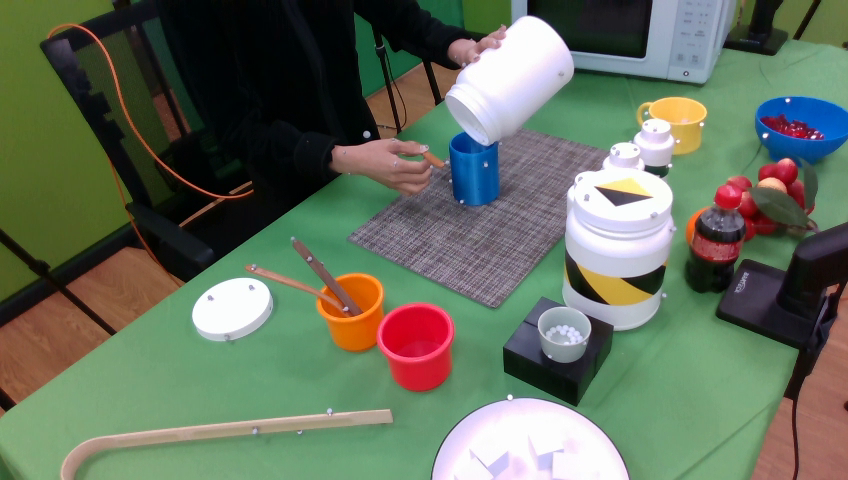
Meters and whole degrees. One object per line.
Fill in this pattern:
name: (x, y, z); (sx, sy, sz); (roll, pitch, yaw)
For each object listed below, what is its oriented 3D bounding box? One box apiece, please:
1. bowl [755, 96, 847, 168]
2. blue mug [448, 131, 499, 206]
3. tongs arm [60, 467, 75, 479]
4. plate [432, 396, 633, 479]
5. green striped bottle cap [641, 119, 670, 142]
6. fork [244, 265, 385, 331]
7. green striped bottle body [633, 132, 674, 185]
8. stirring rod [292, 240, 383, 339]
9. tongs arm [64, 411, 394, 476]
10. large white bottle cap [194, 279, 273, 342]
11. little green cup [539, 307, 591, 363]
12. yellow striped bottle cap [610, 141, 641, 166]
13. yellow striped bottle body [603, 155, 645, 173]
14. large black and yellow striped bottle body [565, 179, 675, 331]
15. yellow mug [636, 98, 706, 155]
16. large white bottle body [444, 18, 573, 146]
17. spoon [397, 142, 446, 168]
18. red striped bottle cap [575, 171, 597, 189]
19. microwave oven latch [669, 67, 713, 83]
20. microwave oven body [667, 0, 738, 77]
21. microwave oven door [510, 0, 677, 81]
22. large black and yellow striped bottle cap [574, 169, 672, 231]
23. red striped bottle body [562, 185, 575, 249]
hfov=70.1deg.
bowl: (0.645, -0.177, 1.041); (0.151, 0.077, 0.150); (-5, 40, 4)
blue mug: (0.090, -0.134, 1.050); (0.082, 0.106, 0.116); (2, 41, 11)
tongs arm: (-0.239, 0.301, 0.649); (0.386, 0.028, 0.028); (6, 49, 16)
plate: (0.112, 0.261, 0.634); (0.209, 0.038, 0.208); (-5, 40, 4)
green striped bottle cap: (0.371, -0.175, 0.968); (0.044, 0.020, 0.044); (-4, 42, 4)
fork: (-0.142, 0.078, 0.806); (0.209, 0.018, 0.028); (30, 32, -23)
green striped bottle body: (0.376, -0.135, 1.001); (0.063, 0.120, 0.063); (-5, 40, 5)
stirring rod: (-0.118, 0.068, 0.825); (0.176, 0.006, 0.014); (48, 59, -3)
tongs arm: (-0.228, 0.241, 0.715); (0.385, 0.026, 0.050); (-5, 44, 4)
large white bottle cap: (-0.284, 0.103, 0.902); (0.115, 0.018, 0.114); (-4, 40, 4)
little green cup: (0.167, 0.114, 0.721); (0.061, 0.039, 0.061); (-4, 43, 4)
yellow striped bottle cap: (0.308, -0.131, 0.925); (0.044, 0.019, 0.044); (-4, 46, 5)
yellow striped bottle body: (0.314, -0.091, 0.957); (0.063, 0.121, 0.062); (-4, 40, 4)
large black and yellow striped bottle body: (0.254, 0.014, 0.793); (0.131, 0.185, 0.130); (-5, 40, 4)
yellow mug: (0.453, -0.217, 1.129); (0.100, 0.064, 0.129); (-34, 46, -27)
large white bottle body: (0.135, -0.253, 0.984); (0.185, 0.131, 0.129); (-43, 47, -6)
spoon: (-0.004, -0.137, 0.972); (0.042, 0.022, 0.192); (-19, 19, -12)
red striped bottle cap: (0.242, -0.081, 0.876); (0.044, 0.018, 0.044); (-5, 44, 5)
microwave oven latch: (0.556, -0.349, 1.261); (0.078, 0.029, 0.030); (16, 46, 27)
microwave oven body: (0.462, -0.552, 1.369); (0.439, 0.261, 0.326); (15, 45, 26)
microwave oven door: (0.354, -0.478, 1.290); (0.353, 0.245, 0.039); (15, 45, 25)
large black and yellow striped bottle cap: (0.242, -0.051, 0.738); (0.115, 0.019, 0.114); (-4, 37, 3)
red striped bottle body: (0.247, -0.041, 0.910); (0.063, 0.120, 0.062); (0, 38, 1)
